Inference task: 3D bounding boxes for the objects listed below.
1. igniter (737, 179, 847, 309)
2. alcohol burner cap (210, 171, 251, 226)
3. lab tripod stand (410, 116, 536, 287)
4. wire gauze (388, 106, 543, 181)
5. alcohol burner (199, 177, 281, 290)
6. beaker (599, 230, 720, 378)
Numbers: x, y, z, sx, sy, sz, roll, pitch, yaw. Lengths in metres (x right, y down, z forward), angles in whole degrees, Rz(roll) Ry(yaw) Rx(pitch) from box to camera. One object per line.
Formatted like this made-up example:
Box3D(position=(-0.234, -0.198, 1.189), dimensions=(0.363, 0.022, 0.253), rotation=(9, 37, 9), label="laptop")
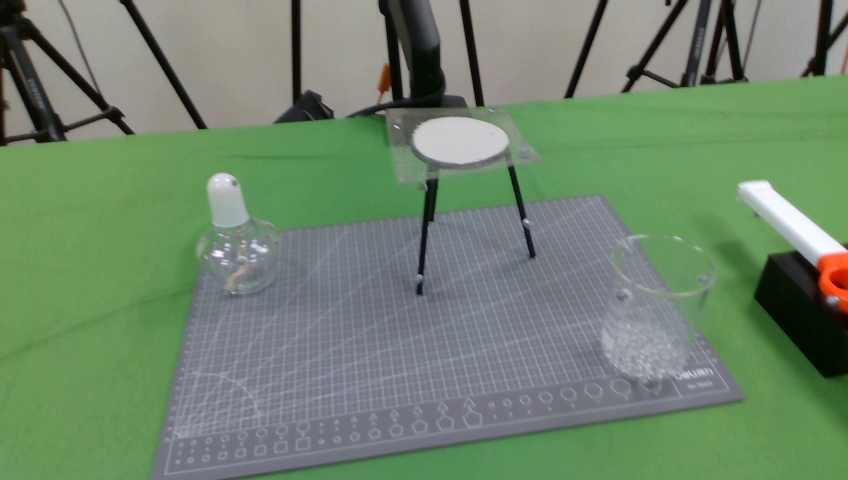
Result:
Box3D(position=(0.344, 0.022, 0.500), dimensions=(0.057, 0.025, 0.273), rotation=(-6, 34, -3), label="igniter")
Box3D(position=(-0.177, -0.040, 0.550), dimensions=(0.034, 0.048, 0.033), rotation=(0, 32, 0), label="alcohol burner cap")
Box3D(position=(0.039, -0.041, 0.583), dimensions=(0.148, 0.132, 0.147), rotation=(0, 36, 1), label="lab tripod stand")
Box3D(position=(0.031, -0.092, 0.539), dimensions=(0.121, 0.011, 0.123), rotation=(-5, 38, -6), label="wire gauze")
Box3D(position=(-0.176, -0.011, 0.571), dimensions=(0.078, 0.120, 0.077), rotation=(0, 39, 1), label="alcohol burner")
Box3D(position=(0.179, 0.052, 0.482), dimensions=(0.074, 0.101, 0.083), rotation=(-17, 39, -19), label="beaker")
